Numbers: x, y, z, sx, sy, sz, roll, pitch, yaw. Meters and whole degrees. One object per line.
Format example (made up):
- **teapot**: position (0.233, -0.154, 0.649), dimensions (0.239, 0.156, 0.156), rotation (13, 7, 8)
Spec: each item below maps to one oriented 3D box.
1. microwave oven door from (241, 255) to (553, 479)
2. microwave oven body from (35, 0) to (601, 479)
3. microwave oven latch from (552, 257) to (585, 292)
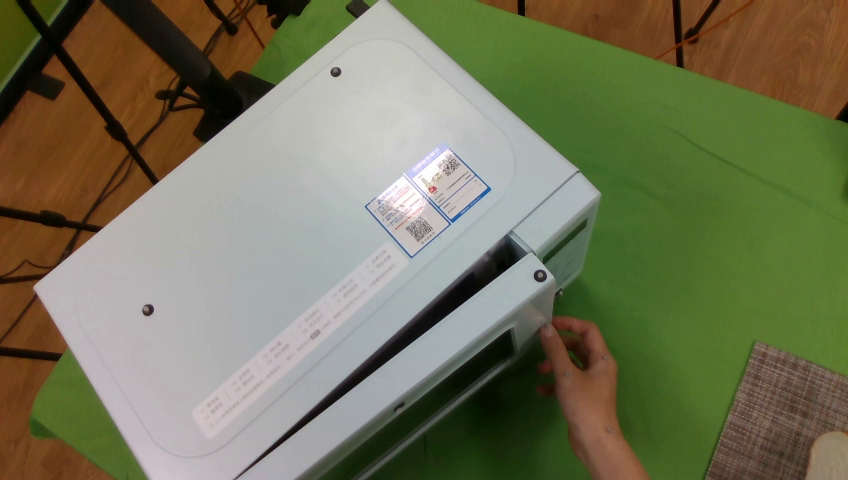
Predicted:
- **microwave oven door**: position (-0.023, 0.161, 0.588), dimensions (0.356, 0.246, 0.039), rotation (-37, 68, -4)
- **microwave oven body**: position (-0.094, 0.027, 0.651), dimensions (0.441, 0.262, 0.323), rotation (-42, 70, -5)
- **microwave oven latch**: position (0.151, 0.041, 0.707), dimensions (0.079, 0.030, 0.030), rotation (-40, 70, -4)
